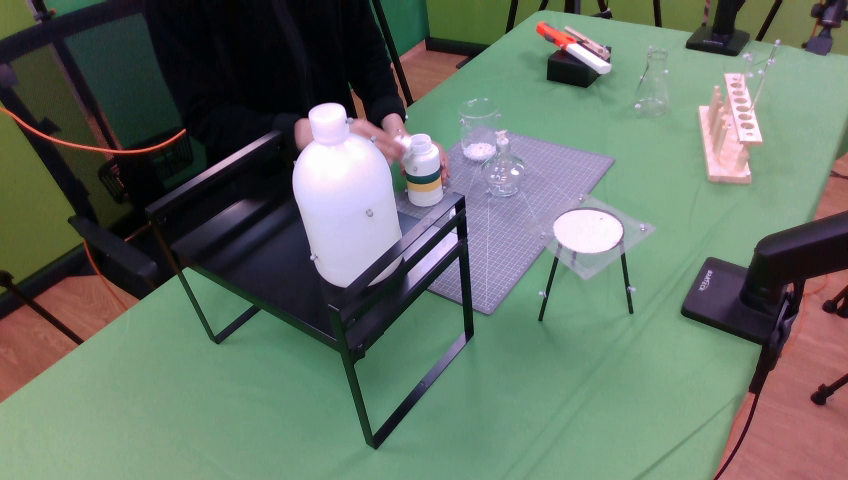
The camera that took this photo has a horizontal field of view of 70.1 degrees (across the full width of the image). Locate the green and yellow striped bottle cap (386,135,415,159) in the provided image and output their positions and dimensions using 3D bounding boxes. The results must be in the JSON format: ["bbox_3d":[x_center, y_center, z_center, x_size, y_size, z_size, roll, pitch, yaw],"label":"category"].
[{"bbox_3d":[-0.038,-0.148,0.962,0.045,0.020,0.045,-10,40,9],"label":"green and yellow striped bottle cap"}]

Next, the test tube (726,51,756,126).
[{"bbox_3d":[0.568,-0.268,1.085,0.017,0.151,0.017,-4,46,4],"label":"test tube"}]

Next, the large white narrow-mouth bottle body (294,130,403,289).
[{"bbox_3d":[-0.082,-0.047,0.634,0.102,0.195,0.101,-4,39,4],"label":"large white narrow-mouth bottle body"}]

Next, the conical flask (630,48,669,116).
[{"bbox_3d":[0.456,-0.317,1.205,0.075,0.122,0.075,-4,41,4],"label":"conical flask"}]

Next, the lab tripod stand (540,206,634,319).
[{"bbox_3d":[0.218,0.034,0.821,0.148,0.132,0.147,-4,42,4],"label":"lab tripod stand"}]

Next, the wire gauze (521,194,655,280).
[{"bbox_3d":[0.207,-0.012,0.772,0.122,0.011,0.124,-28,44,-20],"label":"wire gauze"}]

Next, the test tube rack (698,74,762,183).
[{"bbox_3d":[0.547,-0.208,1.095,0.066,0.085,0.242,5,42,15],"label":"test tube rack"}]

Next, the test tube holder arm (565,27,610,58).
[{"bbox_3d":[0.369,-0.450,1.373,0.013,0.015,0.177,-39,41,10],"label":"test tube holder arm"}]

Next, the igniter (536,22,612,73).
[{"bbox_3d":[0.330,-0.439,1.366,0.057,0.025,0.274,-12,41,-20],"label":"igniter"}]

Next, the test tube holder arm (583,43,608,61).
[{"bbox_3d":[0.379,-0.420,1.341,0.010,0.015,0.087,-39,41,10],"label":"test tube holder arm"}]

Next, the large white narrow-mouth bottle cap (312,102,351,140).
[{"bbox_3d":[-0.089,-0.114,0.579,0.038,0.024,0.037,-3,39,3],"label":"large white narrow-mouth bottle cap"}]

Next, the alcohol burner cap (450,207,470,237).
[{"bbox_3d":[0.057,-0.032,0.987,0.034,0.048,0.033,-4,41,4],"label":"alcohol burner cap"}]

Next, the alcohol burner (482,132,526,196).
[{"bbox_3d":[0.137,-0.136,1.042,0.078,0.119,0.077,-4,43,4],"label":"alcohol burner"}]

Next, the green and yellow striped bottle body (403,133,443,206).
[{"bbox_3d":[-0.002,-0.124,1.041,0.063,0.120,0.063,-4,41,4],"label":"green and yellow striped bottle body"}]

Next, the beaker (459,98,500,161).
[{"bbox_3d":[0.104,-0.208,1.142,0.074,0.101,0.083,-20,42,-15],"label":"beaker"}]

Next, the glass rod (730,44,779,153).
[{"bbox_3d":[0.555,-0.234,1.020,0.008,0.200,0.008,2,40,-1],"label":"glass rod"}]
